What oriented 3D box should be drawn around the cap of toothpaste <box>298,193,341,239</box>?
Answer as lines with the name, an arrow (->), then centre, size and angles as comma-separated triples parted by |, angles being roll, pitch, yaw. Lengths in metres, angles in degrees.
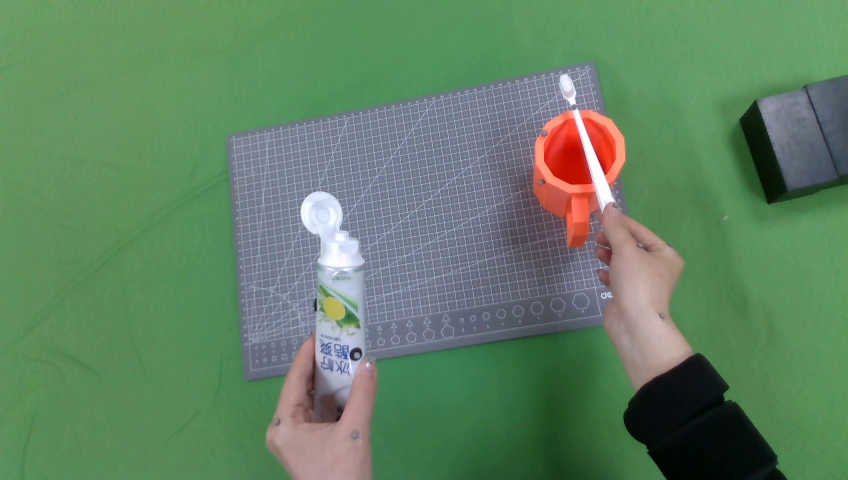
cap of toothpaste -> -0.077, -0.019, 0.456 | 0.037, 0.011, 0.037 | 6, 80, -36

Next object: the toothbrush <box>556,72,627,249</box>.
toothbrush -> 0.154, -0.077, 0.561 | 0.014, 0.017, 0.180 | -17, 74, 9

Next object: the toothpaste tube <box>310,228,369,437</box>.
toothpaste tube -> -0.066, 0.071, 0.462 | 0.055, 0.034, 0.165 | 9, 106, 28

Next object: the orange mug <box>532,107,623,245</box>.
orange mug -> 0.155, -0.061, 0.625 | 0.083, 0.101, 0.125 | -1, 73, 8
